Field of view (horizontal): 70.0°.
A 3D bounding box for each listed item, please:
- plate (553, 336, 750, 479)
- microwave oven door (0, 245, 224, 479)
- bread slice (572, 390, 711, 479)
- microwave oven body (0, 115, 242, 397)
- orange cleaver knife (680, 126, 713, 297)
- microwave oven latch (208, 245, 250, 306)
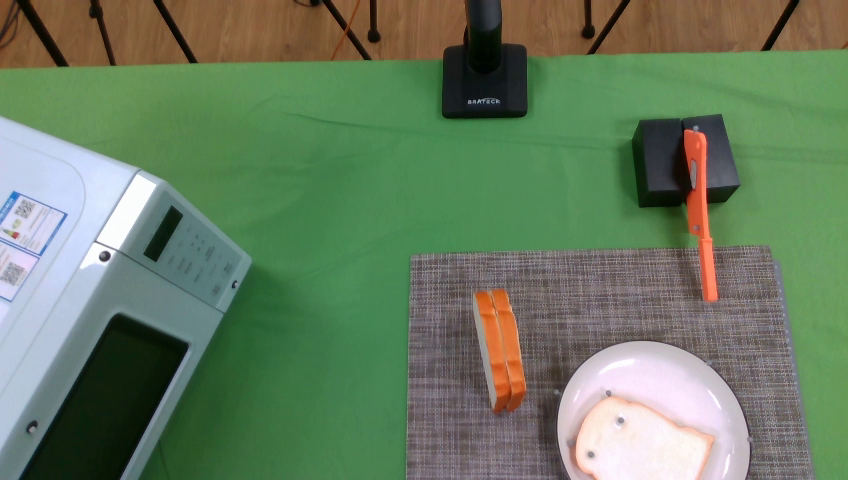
[{"bbox_3d":[0.247,0.213,0.675,0.207,0.039,0.206,-1,70,4],"label":"plate"},{"bbox_3d":[-0.346,0.199,0.610,0.039,0.245,0.354,20,73,13],"label":"microwave oven door"},{"bbox_3d":[0.233,0.230,0.668,0.134,0.018,0.106,22,71,15],"label":"bread slice"},{"bbox_3d":[-0.464,0.115,0.656,0.325,0.262,0.440,20,74,11],"label":"microwave oven body"},{"bbox_3d":[0.329,-0.038,0.737,0.012,0.077,0.211,-5,91,6],"label":"orange cleaver knife"},{"bbox_3d":[-0.251,0.042,0.766,0.030,0.030,0.079,22,75,12],"label":"microwave oven latch"}]
